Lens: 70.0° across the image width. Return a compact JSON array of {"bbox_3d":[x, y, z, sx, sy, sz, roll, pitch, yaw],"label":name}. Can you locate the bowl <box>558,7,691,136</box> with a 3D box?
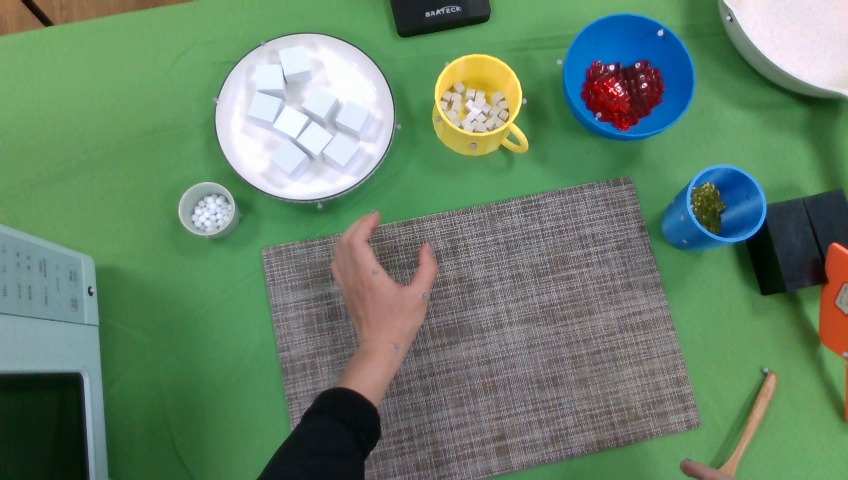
[{"bbox_3d":[0.226,-0.186,0.717,0.151,0.077,0.151,0,80,-2],"label":"bowl"}]

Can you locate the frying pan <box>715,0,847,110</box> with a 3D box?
[{"bbox_3d":[0.508,-0.216,0.720,0.307,0.103,0.484,-7,72,-2],"label":"frying pan"}]

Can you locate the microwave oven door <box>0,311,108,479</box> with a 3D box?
[{"bbox_3d":[-0.342,0.239,0.517,0.039,0.244,0.354,-9,80,-4],"label":"microwave oven door"}]

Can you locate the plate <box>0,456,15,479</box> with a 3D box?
[{"bbox_3d":[-0.476,0.275,0.563,0.209,0.038,0.208,1,82,-4],"label":"plate"}]

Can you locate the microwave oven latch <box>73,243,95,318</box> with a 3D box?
[{"bbox_3d":[-0.376,0.044,0.653,0.030,0.029,0.079,-8,81,-4],"label":"microwave oven latch"}]

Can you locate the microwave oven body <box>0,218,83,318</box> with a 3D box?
[{"bbox_3d":[-0.492,0.220,0.520,0.326,0.261,0.440,-8,81,-4],"label":"microwave oven body"}]

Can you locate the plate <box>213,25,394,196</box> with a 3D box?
[{"bbox_3d":[-0.139,-0.150,0.716,0.208,0.039,0.207,0,80,-2],"label":"plate"}]

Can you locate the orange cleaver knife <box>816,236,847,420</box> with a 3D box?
[{"bbox_3d":[0.465,0.100,0.674,0.012,0.076,0.212,-12,109,-4],"label":"orange cleaver knife"}]

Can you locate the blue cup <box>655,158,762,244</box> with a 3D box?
[{"bbox_3d":[0.310,-0.035,0.681,0.093,0.100,0.092,1,78,-3],"label":"blue cup"}]

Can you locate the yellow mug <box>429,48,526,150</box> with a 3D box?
[{"bbox_3d":[0.069,-0.154,0.711,0.130,0.064,0.100,41,81,4],"label":"yellow mug"}]

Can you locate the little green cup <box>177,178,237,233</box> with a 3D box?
[{"bbox_3d":[-0.244,-0.037,0.690,0.061,0.039,0.061,0,80,-2],"label":"little green cup"}]

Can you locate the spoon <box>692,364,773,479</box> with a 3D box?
[{"bbox_3d":[0.349,0.222,0.678,0.041,0.022,0.193,31,80,16],"label":"spoon"}]
